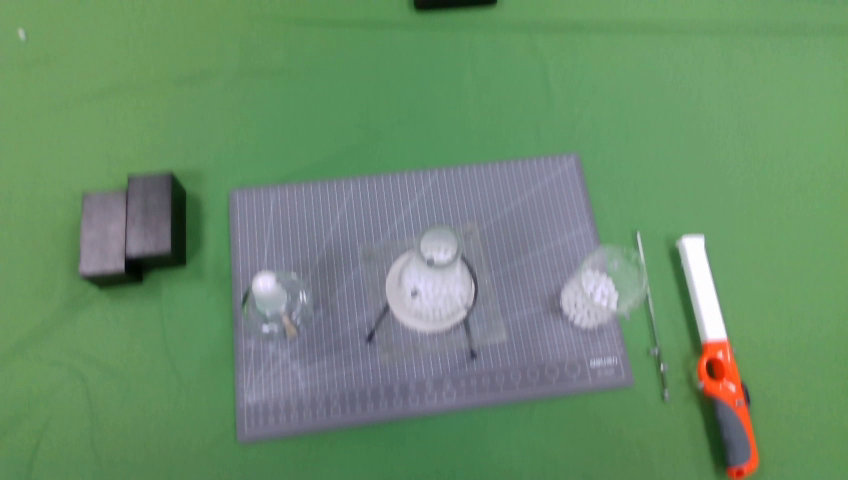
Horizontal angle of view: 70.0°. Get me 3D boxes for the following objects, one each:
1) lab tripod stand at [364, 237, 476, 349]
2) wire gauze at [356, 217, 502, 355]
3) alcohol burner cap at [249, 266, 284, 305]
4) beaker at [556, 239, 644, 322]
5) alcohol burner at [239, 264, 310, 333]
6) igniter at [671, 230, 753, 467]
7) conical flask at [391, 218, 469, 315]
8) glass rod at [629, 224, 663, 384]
[{"bbox_3d":[0.001,0.063,0.653,0.148,0.132,0.147,1,72,-2],"label":"lab tripod stand"},{"bbox_3d":[0.004,0.043,0.590,0.125,0.011,0.120,-10,74,-8],"label":"wire gauze"},{"bbox_3d":[-0.164,0.044,0.624,0.034,0.048,0.033,2,62,-3],"label":"alcohol burner cap"},{"bbox_3d":[0.196,0.048,0.686,0.073,0.101,0.084,44,74,12],"label":"beaker"},{"bbox_3d":[-0.165,0.058,0.657,0.078,0.120,0.077,1,68,-2],"label":"alcohol burner"},{"bbox_3d":[0.336,0.119,0.710,0.057,0.025,0.274,-1,71,-13],"label":"igniter"},{"bbox_3d":[0.007,0.019,0.536,0.075,0.122,0.075,1,71,-2],"label":"conical flask"},{"bbox_3d":[0.268,0.073,0.732,0.008,0.008,0.198,-3,71,-4],"label":"glass rod"}]
